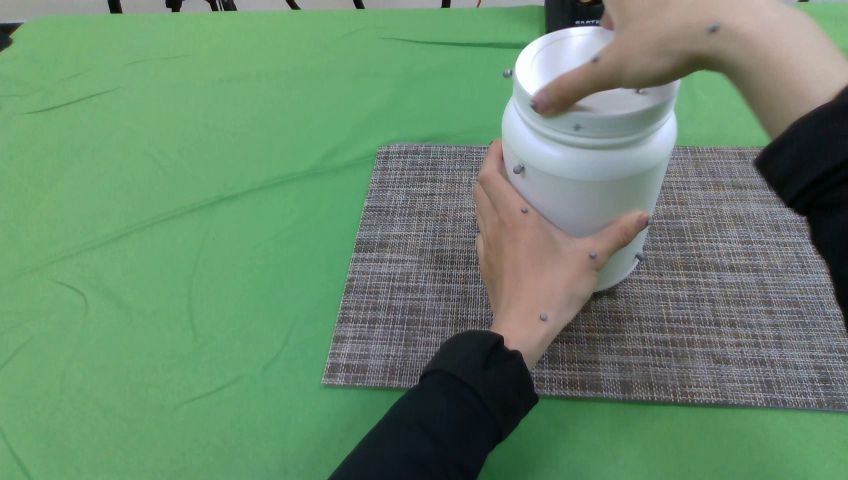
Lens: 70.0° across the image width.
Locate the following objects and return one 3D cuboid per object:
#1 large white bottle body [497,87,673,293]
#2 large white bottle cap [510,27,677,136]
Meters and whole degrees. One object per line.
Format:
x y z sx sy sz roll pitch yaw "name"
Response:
0.126 -0.059 0.497 0.130 0.186 0.129 -2 48 3 "large white bottle body"
0.119 -0.116 0.433 0.115 0.018 0.113 -3 48 3 "large white bottle cap"
